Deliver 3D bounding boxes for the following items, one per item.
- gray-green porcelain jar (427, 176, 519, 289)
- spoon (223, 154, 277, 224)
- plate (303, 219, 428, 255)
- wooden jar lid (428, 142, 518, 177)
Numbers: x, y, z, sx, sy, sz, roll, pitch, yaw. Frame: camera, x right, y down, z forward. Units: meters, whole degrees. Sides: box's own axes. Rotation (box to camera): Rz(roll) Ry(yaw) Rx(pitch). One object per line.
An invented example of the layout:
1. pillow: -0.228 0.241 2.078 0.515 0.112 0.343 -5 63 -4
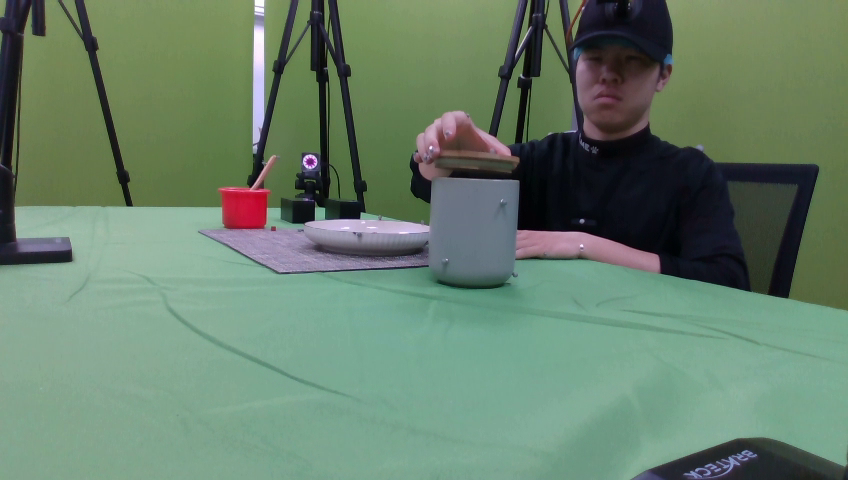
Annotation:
1. gray-green porcelain jar: 0.057 -0.010 0.722 0.106 0.126 0.106 2 7 0
2. spoon: -0.345 -0.106 1.214 0.041 0.022 0.194 2 45 26
3. plate: -0.084 -0.005 0.952 0.208 0.039 0.207 3 7 0
4. wooden jar lid: 0.056 -0.094 0.714 0.108 0.020 0.108 13 5 -1
